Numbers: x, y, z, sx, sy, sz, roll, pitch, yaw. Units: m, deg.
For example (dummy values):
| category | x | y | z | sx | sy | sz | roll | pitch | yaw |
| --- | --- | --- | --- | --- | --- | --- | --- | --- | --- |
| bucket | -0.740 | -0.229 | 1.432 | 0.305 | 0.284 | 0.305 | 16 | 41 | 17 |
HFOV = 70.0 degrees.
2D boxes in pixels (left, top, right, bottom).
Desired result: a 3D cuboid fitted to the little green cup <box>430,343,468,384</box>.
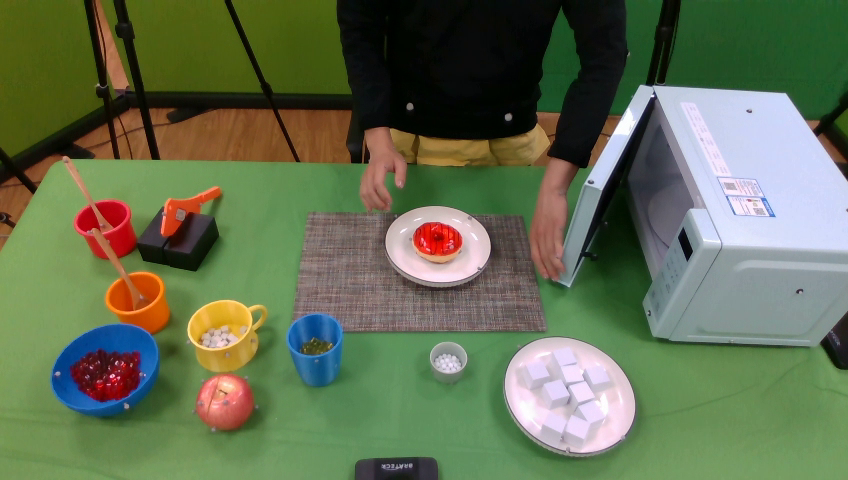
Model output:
| category | x | y | z | sx | sy | sz | roll | pitch | yaw |
| --- | --- | --- | --- | --- | --- | --- | --- | --- | --- |
| little green cup | 0.039 | 0.203 | 0.994 | 0.061 | 0.039 | 0.061 | 2 | 46 | -2 |

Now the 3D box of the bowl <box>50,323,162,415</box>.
| category | x | y | z | sx | sy | sz | roll | pitch | yaw |
| --- | --- | --- | --- | --- | --- | --- | --- | --- | --- |
| bowl | -0.472 | 0.209 | 0.924 | 0.151 | 0.077 | 0.150 | 3 | 45 | -2 |

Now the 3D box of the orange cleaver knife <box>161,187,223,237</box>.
| category | x | y | z | sx | sy | sz | roll | pitch | yaw |
| --- | --- | --- | --- | --- | --- | --- | --- | --- | --- |
| orange cleaver knife | -0.448 | -0.058 | 1.180 | 0.012 | 0.077 | 0.211 | 13 | 17 | 6 |

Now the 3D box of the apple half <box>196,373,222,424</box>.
| category | x | y | z | sx | sy | sz | roll | pitch | yaw |
| --- | --- | --- | --- | --- | --- | --- | --- | --- | --- |
| apple half | -0.322 | 0.239 | 0.907 | 0.033 | 0.081 | 0.081 | 7 | 46 | -1 |

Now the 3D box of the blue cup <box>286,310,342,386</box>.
| category | x | y | z | sx | sy | sz | roll | pitch | yaw |
| --- | --- | --- | --- | --- | --- | --- | --- | --- | --- |
| blue cup | -0.170 | 0.179 | 0.958 | 0.093 | 0.101 | 0.092 | 2 | 44 | -1 |

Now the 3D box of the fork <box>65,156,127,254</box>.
| category | x | y | z | sx | sy | sz | roll | pitch | yaw |
| --- | --- | --- | --- | --- | --- | --- | --- | --- | --- |
| fork | -0.614 | -0.064 | 1.130 | 0.028 | 0.018 | 0.207 | -29 | 97 | -16 |

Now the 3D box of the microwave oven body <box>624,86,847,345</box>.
| category | x | y | z | sx | sy | sz | roll | pitch | yaw |
| --- | --- | --- | --- | --- | --- | --- | --- | --- | --- |
| microwave oven body | 0.568 | -0.053 | 1.118 | 0.326 | 0.261 | 0.439 | 2 | 45 | -1 |

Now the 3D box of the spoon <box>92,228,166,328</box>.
| category | x | y | z | sx | sy | sz | roll | pitch | yaw |
| --- | --- | --- | --- | --- | --- | --- | --- | --- | --- |
| spoon | -0.495 | 0.063 | 1.014 | 0.041 | 0.194 | 0.021 | -34 | 12 | -32 |

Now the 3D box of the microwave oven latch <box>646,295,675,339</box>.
| category | x | y | z | sx | sy | sz | roll | pitch | yaw |
| --- | --- | --- | --- | --- | --- | --- | --- | --- | --- |
| microwave oven latch | 0.412 | 0.134 | 1.061 | 0.030 | 0.029 | 0.078 | 4 | 45 | 1 |

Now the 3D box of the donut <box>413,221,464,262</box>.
| category | x | y | z | sx | sy | sz | roll | pitch | yaw |
| --- | --- | --- | --- | --- | --- | --- | --- | --- | --- |
| donut | 0.028 | 0.002 | 1.166 | 0.099 | 0.048 | 0.098 | 2 | 44 | -2 |

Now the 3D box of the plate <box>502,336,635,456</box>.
| category | x | y | z | sx | sy | sz | roll | pitch | yaw |
| --- | --- | --- | --- | --- | --- | --- | --- | --- | --- |
| plate | 0.225 | 0.248 | 0.964 | 0.208 | 0.039 | 0.206 | 2 | 46 | -2 |

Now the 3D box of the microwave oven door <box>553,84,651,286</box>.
| category | x | y | z | sx | sy | sz | roll | pitch | yaw |
| --- | --- | --- | --- | --- | --- | --- | --- | --- | --- |
| microwave oven door | 0.344 | -0.112 | 1.152 | 0.039 | 0.245 | 0.355 | 23 | 49 | 17 |

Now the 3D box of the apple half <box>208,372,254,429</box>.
| category | x | y | z | sx | sy | sz | roll | pitch | yaw |
| --- | --- | --- | --- | --- | --- | --- | --- | --- | --- |
| apple half | -0.283 | 0.244 | 0.908 | 0.053 | 0.075 | 0.080 | 7 | 43 | -2 |

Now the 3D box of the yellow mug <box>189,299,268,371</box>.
| category | x | y | z | sx | sy | sz | roll | pitch | yaw |
| --- | --- | --- | --- | --- | --- | --- | --- | --- | --- |
| yellow mug | -0.316 | 0.148 | 1.002 | 0.131 | 0.064 | 0.099 | -32 | 56 | -31 |

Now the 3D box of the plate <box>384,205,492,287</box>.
| category | x | y | z | sx | sy | sz | roll | pitch | yaw |
| --- | --- | --- | --- | --- | --- | --- | --- | --- | --- |
| plate | 0.027 | 0.015 | 1.169 | 0.209 | 0.038 | 0.208 | 2 | 46 | -2 |
